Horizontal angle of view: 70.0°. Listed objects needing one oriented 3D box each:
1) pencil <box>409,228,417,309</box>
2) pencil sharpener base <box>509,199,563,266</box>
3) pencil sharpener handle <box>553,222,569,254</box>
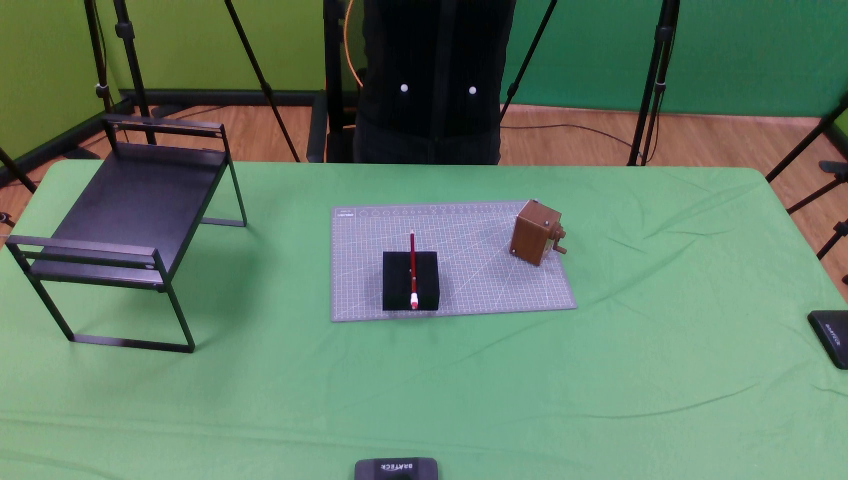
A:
[{"bbox_3d":[-0.021,0.046,1.087,0.012,0.012,0.193,0,46,-4],"label":"pencil"},{"bbox_3d":[0.216,-0.012,1.160,0.076,0.107,0.061,27,50,20],"label":"pencil sharpener base"},{"bbox_3d":[0.260,-0.001,1.135,0.030,0.068,0.036,27,58,20],"label":"pencil sharpener handle"}]
